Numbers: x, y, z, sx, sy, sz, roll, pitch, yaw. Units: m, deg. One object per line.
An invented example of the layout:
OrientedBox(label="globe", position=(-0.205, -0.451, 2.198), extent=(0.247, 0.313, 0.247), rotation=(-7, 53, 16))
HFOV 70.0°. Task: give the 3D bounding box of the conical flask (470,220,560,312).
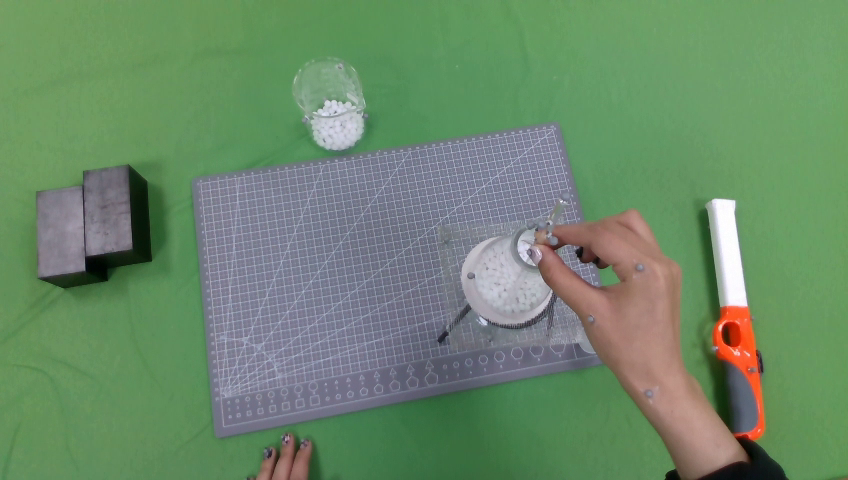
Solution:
OrientedBox(label="conical flask", position=(0.082, 0.017, 0.509), extent=(0.075, 0.122, 0.075), rotation=(1, 77, -2))

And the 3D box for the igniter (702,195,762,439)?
OrientedBox(label="igniter", position=(0.348, 0.082, 0.688), extent=(0.057, 0.025, 0.275), rotation=(4, 74, -12))

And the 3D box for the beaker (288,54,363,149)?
OrientedBox(label="beaker", position=(-0.106, -0.154, 0.699), extent=(0.084, 0.100, 0.074), rotation=(25, 76, 4))

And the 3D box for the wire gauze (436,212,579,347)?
OrientedBox(label="wire gauze", position=(0.077, 0.036, 0.565), extent=(0.125, 0.011, 0.121), rotation=(-4, 78, -5))

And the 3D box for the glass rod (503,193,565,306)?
OrientedBox(label="glass rod", position=(0.079, 0.016, 0.462), extent=(0.008, 0.201, 0.008), rotation=(1, 65, -3))

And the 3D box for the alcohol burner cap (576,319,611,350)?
OrientedBox(label="alcohol burner cap", position=(0.188, 0.102, 0.666), extent=(0.034, 0.048, 0.033), rotation=(1, 74, -2))

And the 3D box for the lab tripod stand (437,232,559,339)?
OrientedBox(label="lab tripod stand", position=(0.078, 0.055, 0.628), extent=(0.148, 0.132, 0.147), rotation=(0, 76, -1))

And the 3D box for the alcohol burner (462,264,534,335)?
OrientedBox(label="alcohol burner", position=(0.079, 0.059, 0.637), extent=(0.078, 0.119, 0.077), rotation=(0, 75, 1))
